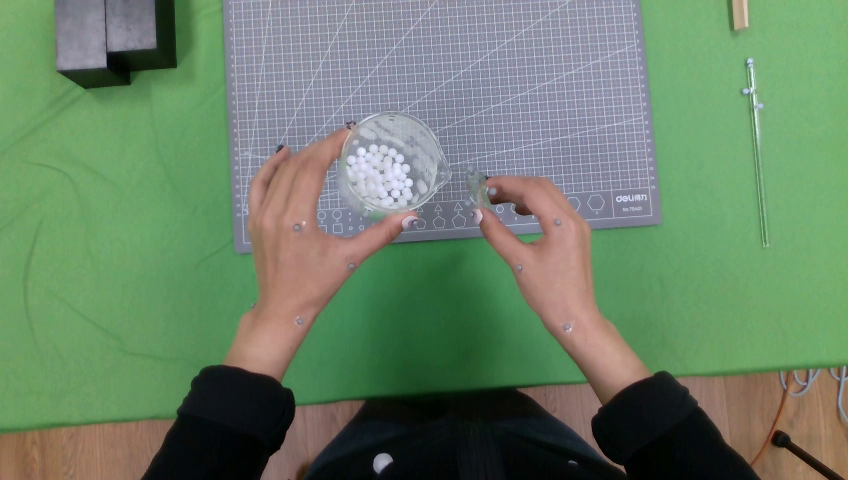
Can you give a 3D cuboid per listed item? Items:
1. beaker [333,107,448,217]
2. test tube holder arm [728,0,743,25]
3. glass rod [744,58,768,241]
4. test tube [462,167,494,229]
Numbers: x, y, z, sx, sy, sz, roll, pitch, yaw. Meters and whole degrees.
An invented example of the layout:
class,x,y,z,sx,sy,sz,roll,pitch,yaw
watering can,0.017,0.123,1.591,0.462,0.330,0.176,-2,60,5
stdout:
class,x,y,z,sx,sy,sz,roll,pitch,yaw
beaker,-0.031,-0.056,0.477,0.084,0.100,0.074,9,87,-12
test tube holder arm,0.338,-0.322,0.659,0.013,0.015,0.178,4,85,-30
glass rod,0.355,-0.098,0.649,0.008,0.008,0.199,-3,85,-1
test tube,0.049,-0.032,0.525,0.017,0.151,0.017,-2,78,10
